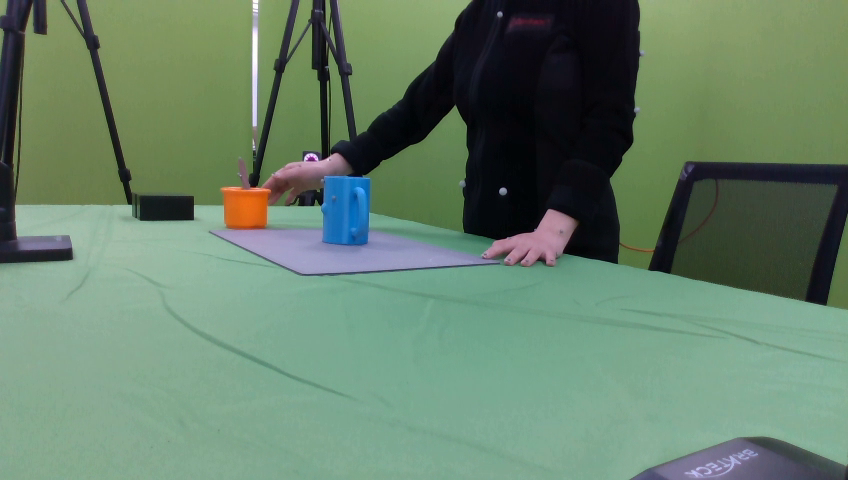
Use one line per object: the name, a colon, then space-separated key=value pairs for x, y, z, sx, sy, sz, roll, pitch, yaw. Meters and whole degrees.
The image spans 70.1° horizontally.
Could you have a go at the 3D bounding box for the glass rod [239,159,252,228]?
glass rod: x=-0.346 y=-0.093 z=1.170 sx=0.008 sy=0.008 sz=0.199 roll=-1 pitch=46 yaw=-23

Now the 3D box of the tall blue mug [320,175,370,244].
tall blue mug: x=-0.116 y=-0.049 z=0.991 sx=0.106 sy=0.108 sz=0.078 roll=7 pitch=8 yaw=32
